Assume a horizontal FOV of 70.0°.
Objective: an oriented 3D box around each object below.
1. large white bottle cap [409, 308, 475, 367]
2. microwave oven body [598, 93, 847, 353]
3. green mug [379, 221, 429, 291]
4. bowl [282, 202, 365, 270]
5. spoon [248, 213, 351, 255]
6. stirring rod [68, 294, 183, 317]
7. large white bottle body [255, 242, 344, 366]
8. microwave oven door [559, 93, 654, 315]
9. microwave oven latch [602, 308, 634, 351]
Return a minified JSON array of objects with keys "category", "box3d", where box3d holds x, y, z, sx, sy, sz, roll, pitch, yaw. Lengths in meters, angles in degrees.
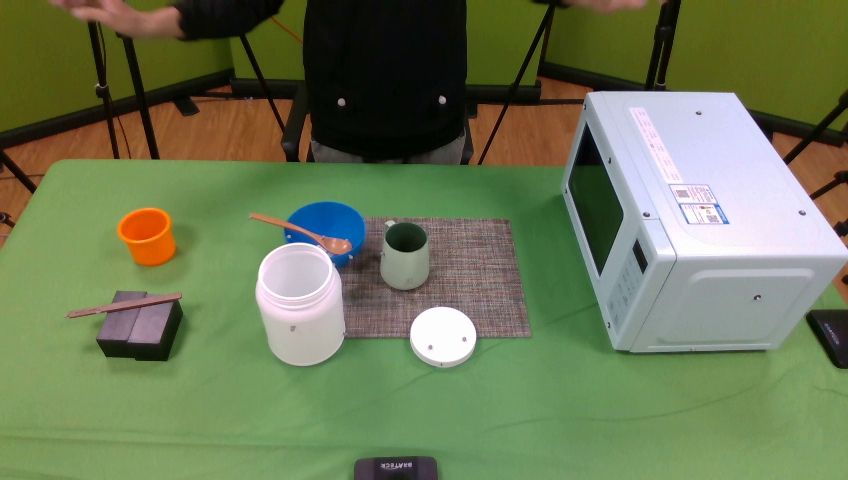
[{"category":"large white bottle cap","box3d":[0.031,0.165,1.041,0.115,0.018,0.114,2,47,-2]},{"category":"microwave oven body","box3d":[0.475,-0.041,1.110,0.326,0.261,0.438,-1,45,-4]},{"category":"green mug","box3d":[-0.043,0.020,1.116,0.092,0.105,0.124,-20,50,-21]},{"category":"bowl","box3d":[-0.185,0.006,1.136,0.151,0.077,0.150,3,46,-3]},{"category":"spoon","box3d":[-0.228,-0.014,1.113,0.194,0.022,0.041,23,40,-15]},{"category":"stirring rod","box3d":[-0.491,0.108,1.001,0.176,0.006,0.014,-8,41,-14]},{"category":"large white bottle body","box3d":[-0.196,0.102,0.967,0.131,0.185,0.130,2,49,-2]},{"category":"microwave oven door","box3d":[0.327,-0.074,1.123,0.039,0.245,0.353,-1,46,-5]},{"category":"microwave oven latch","box3d":[0.332,0.153,1.044,0.030,0.029,0.078,-1,45,-4]}]
